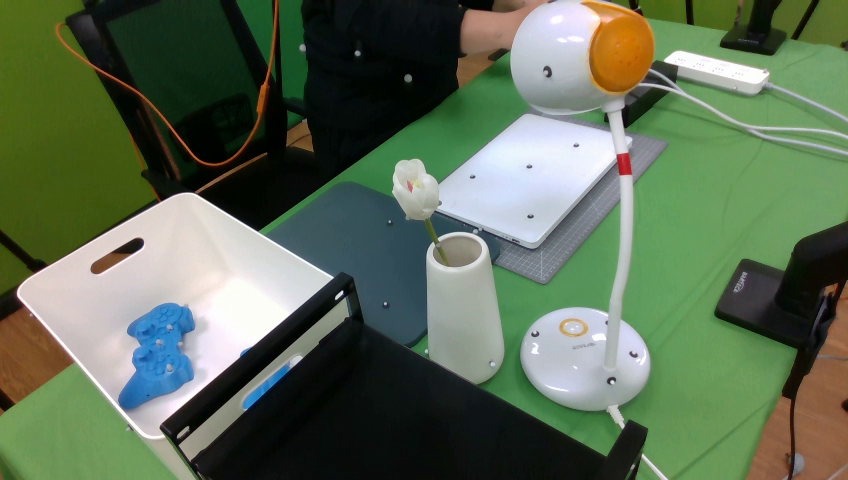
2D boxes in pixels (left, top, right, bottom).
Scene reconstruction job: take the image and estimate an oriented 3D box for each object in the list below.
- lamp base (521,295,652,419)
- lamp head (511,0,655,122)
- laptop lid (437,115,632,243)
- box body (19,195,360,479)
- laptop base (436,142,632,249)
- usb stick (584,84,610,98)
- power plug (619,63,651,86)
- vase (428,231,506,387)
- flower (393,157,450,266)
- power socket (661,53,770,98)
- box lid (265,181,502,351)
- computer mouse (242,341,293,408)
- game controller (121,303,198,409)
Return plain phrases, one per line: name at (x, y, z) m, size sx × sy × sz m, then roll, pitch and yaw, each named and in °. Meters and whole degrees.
lamp base at (0.201, 0.095, 0.710) m, size 0.161 × 0.181 × 0.178 m, roll -16°, pitch 43°, yaw -10°
lamp head at (0.155, -0.168, 0.563) m, size 0.113 × 0.113 × 0.122 m, roll -18°, pitch 23°, yaw -12°
laptop lid at (0.189, -0.126, 1.081) m, size 0.239 × 0.013 × 0.358 m, roll 23°, pitch 48°, yaw 34°
box body at (-0.288, 0.118, 0.772) m, size 0.361 × 0.161 × 0.255 m, roll 26°, pitch 50°, yaw 33°
laptop base at (0.193, -0.117, 1.087) m, size 0.233 × 0.023 × 0.355 m, roll 21°, pitch 47°, yaw 34°
usb stick at (0.354, -0.307, 1.252) m, size 0.027 × 0.021 × 0.058 m, roll 0°, pitch 1°, yaw -39°
power plug at (0.435, -0.342, 1.265) m, size 0.035 × 0.053 × 0.072 m, roll 6°, pitch 30°, yaw -14°
vase at (0.050, 0.087, 0.728) m, size 0.098 × 0.201 × 0.097 m, roll -3°, pitch 40°, yaw 3°
flower at (0.028, 0.035, 0.664) m, size 0.043 × 0.364 × 0.038 m, roll 36°, pitch 73°, yaw 30°
power socket at (0.617, -0.355, 1.291) m, size 0.225 × 0.033 × 0.072 m, roll 29°, pitch 53°, yaw 35°
box lid at (-0.087, 0.023, 0.971) m, size 0.368 × 0.015 × 0.264 m, roll 23°, pitch 49°, yaw 31°
computer mouse at (-0.200, 0.177, 0.776) m, size 0.063 × 0.041 × 0.116 m, roll -11°, pitch 43°, yaw -8°
game controller at (-0.364, 0.149, 0.828) m, size 0.097 × 0.052 × 0.154 m, roll -13°, pitch 41°, yaw -9°
